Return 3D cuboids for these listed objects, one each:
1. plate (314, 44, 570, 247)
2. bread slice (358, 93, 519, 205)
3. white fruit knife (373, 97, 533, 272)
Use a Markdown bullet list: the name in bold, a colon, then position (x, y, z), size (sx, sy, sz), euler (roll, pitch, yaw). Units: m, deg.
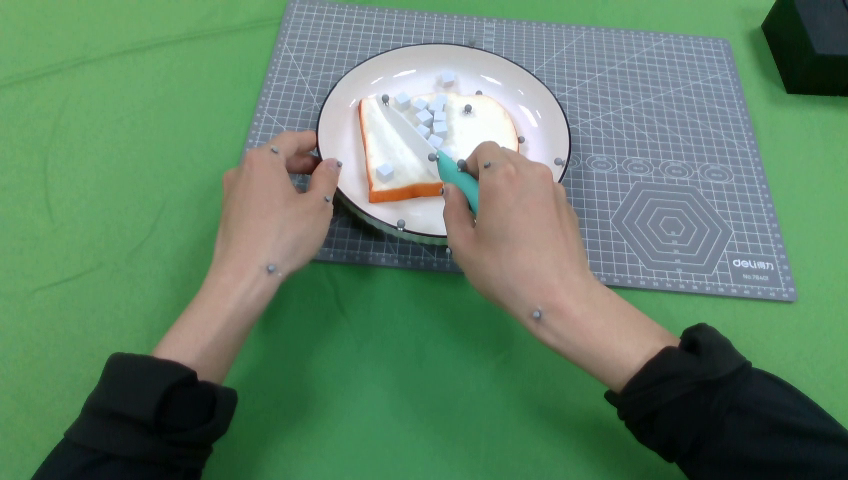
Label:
- **plate**: position (0.014, -0.079, 0.505), size (0.209, 0.038, 0.207), euler (2, 59, -2)
- **bread slice**: position (0.013, -0.083, 0.510), size (0.132, 0.019, 0.104), euler (-8, 59, -7)
- **white fruit knife**: position (0.012, -0.053, 0.446), size (0.016, 0.027, 0.205), euler (-20, 51, -28)
